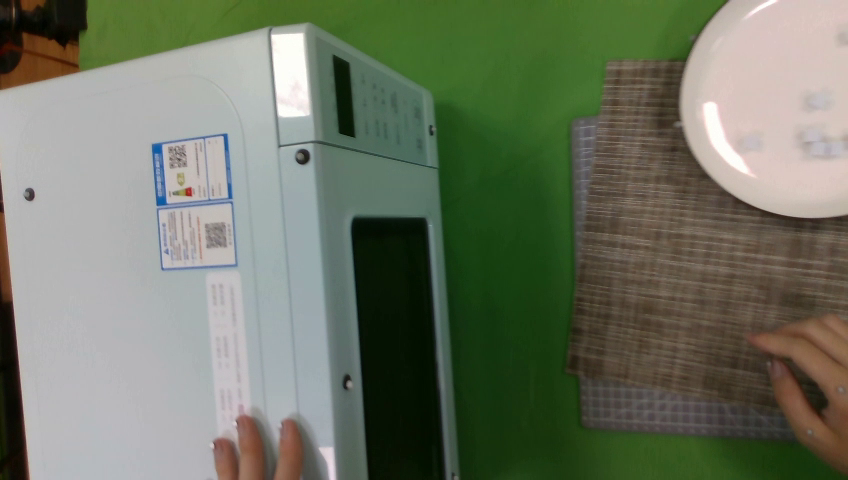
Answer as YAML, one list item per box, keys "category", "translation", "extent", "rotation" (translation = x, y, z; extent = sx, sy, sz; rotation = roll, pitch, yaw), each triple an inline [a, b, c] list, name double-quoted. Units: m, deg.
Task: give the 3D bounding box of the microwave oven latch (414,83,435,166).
- category: "microwave oven latch"
  translation: [-0.007, -0.113, 0.601]
  extent: [0.030, 0.029, 0.079]
  rotation: [-3, 92, 20]

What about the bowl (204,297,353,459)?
- category: "bowl"
  translation: [-0.127, 0.126, 0.590]
  extent: [0.151, 0.077, 0.151]
  rotation: [1, 92, 20]

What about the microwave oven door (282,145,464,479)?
- category: "microwave oven door"
  translation: [-0.029, 0.109, 0.514]
  extent: [0.039, 0.244, 0.355]
  rotation: [-4, 91, 21]

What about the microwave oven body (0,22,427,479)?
- category: "microwave oven body"
  translation: [-0.167, 0.077, 0.569]
  extent: [0.325, 0.261, 0.441]
  rotation: [-4, 92, 20]

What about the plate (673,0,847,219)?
- category: "plate"
  translation: [0.315, -0.120, 0.493]
  extent: [0.208, 0.038, 0.209]
  rotation: [0, 92, 21]
